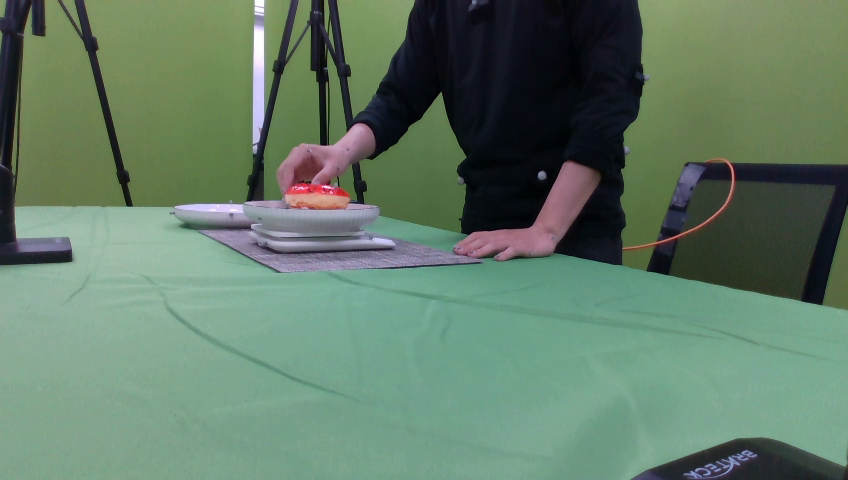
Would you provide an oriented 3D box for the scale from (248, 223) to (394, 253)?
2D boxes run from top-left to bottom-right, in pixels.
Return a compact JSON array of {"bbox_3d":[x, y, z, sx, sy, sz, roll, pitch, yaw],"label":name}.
[{"bbox_3d":[-0.162,-0.006,0.954,0.202,0.031,0.148,-2,8,-32],"label":"scale"}]

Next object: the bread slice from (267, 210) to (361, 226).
[{"bbox_3d":[-0.174,-0.035,0.933,0.132,0.019,0.104,-1,6,-28],"label":"bread slice"}]

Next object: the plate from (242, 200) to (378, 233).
[{"bbox_3d":[-0.175,-0.038,0.939,0.209,0.038,0.209,3,7,0],"label":"plate"}]

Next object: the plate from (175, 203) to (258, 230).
[{"bbox_3d":[-0.381,-0.047,1.199,0.208,0.039,0.207,3,7,0],"label":"plate"}]

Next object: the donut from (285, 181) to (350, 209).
[{"bbox_3d":[-0.165,-0.065,0.937,0.099,0.048,0.099,3,4,0],"label":"donut"}]
